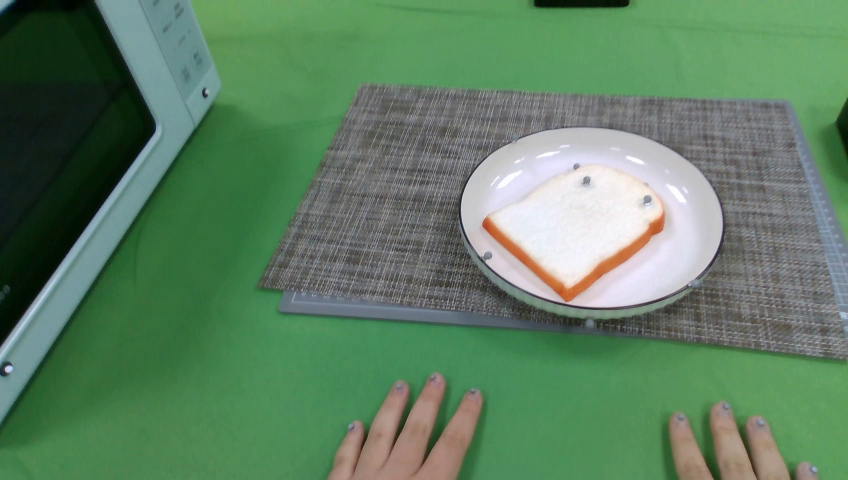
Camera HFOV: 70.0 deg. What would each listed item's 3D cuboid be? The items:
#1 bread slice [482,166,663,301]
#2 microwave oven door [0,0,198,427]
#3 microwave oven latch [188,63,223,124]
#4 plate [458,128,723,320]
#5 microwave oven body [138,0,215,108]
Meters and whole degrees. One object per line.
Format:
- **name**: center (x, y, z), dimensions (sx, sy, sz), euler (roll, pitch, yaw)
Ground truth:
- **bread slice**: center (0.130, -0.017, 0.505), dimensions (0.131, 0.019, 0.104), euler (-31, 51, -21)
- **microwave oven door**: center (-0.297, -0.069, 0.445), dimensions (0.039, 0.246, 0.353), euler (3, 48, 11)
- **microwave oven latch**: center (-0.248, -0.160, 0.662), dimensions (0.030, 0.030, 0.078), euler (5, 49, 11)
- **plate**: center (0.132, -0.016, 0.503), dimensions (0.209, 0.038, 0.207), euler (-4, 47, 4)
- **microwave oven body**: center (-0.433, -0.105, 0.502), dimensions (0.325, 0.263, 0.438), euler (4, 49, 10)
